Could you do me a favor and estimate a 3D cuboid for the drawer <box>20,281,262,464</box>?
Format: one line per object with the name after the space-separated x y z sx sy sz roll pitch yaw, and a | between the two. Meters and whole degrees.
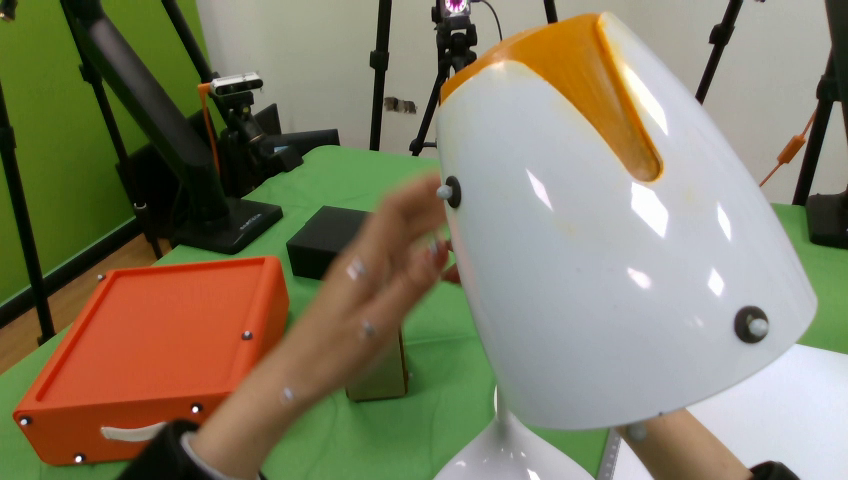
-0.252 0.117 0.620 0.194 0.074 0.210 -5 31 0 | drawer

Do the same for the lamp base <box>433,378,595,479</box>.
0.062 0.153 0.428 0.161 0.182 0.177 -7 30 -2 | lamp base

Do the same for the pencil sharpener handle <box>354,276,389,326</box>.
-0.054 0.058 0.638 0.036 0.068 0.030 -1 32 -3 | pencil sharpener handle

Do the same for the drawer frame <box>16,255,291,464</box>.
-0.254 0.113 0.621 0.202 0.083 0.211 -6 32 -1 | drawer frame

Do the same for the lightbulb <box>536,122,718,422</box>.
0.065 0.011 0.213 0.059 0.108 0.059 -18 5 2 | lightbulb

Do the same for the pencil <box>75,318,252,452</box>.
-0.249 0.137 0.595 0.194 0.012 0.012 -39 45 -26 | pencil

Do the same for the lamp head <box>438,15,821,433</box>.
0.056 -0.013 0.217 0.112 0.123 0.112 -27 -1 0 | lamp head

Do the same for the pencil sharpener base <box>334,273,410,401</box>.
-0.049 0.095 0.601 0.061 0.108 0.076 -5 32 0 | pencil sharpener base
